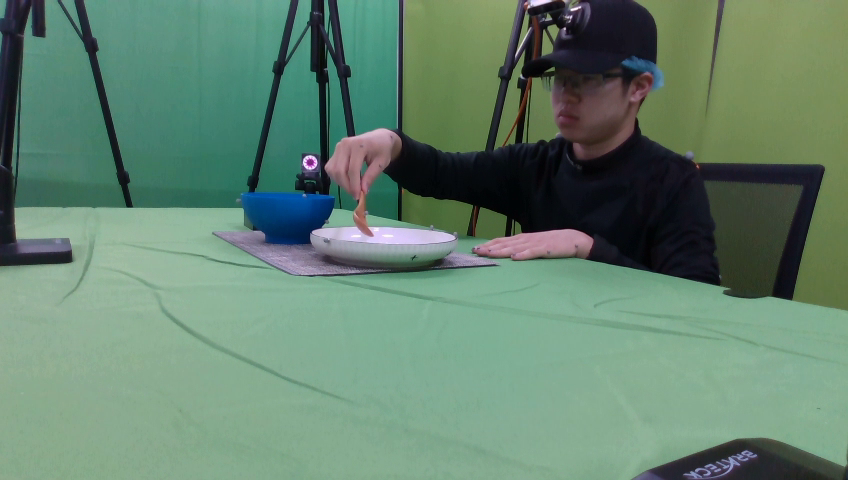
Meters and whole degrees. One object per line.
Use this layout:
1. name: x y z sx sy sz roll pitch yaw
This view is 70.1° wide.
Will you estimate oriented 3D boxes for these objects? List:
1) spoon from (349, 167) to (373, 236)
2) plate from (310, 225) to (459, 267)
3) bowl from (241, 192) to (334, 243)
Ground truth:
1. spoon: -0.098 -0.063 0.910 0.021 0.042 0.193 -33 34 14
2. plate: -0.055 0.008 0.851 0.208 0.039 0.207 2 7 0
3. bowl: -0.223 -0.037 0.992 0.151 0.077 0.151 2 7 0
